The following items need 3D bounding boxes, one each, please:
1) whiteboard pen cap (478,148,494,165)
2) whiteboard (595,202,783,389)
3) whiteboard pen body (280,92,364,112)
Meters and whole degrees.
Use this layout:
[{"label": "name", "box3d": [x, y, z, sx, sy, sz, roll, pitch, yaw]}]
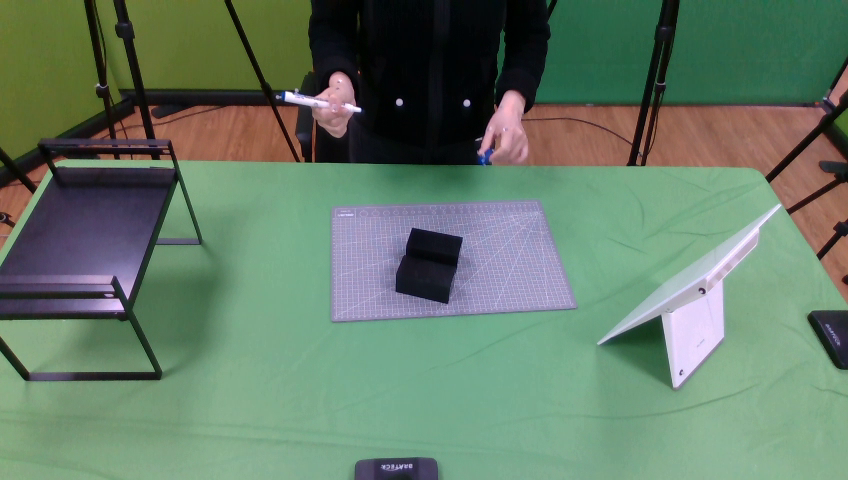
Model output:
[{"label": "whiteboard pen cap", "box3d": [0.119, -0.159, 1.163, 0.018, 0.018, 0.033, 35, 76, 26]}, {"label": "whiteboard", "box3d": [0.459, 0.112, 0.968, 0.217, 0.306, 0.143, -31, 74, -29]}, {"label": "whiteboard pen body", "box3d": [-0.169, -0.229, 1.017, 0.141, 0.017, 0.017, 6, 44, -18]}]
